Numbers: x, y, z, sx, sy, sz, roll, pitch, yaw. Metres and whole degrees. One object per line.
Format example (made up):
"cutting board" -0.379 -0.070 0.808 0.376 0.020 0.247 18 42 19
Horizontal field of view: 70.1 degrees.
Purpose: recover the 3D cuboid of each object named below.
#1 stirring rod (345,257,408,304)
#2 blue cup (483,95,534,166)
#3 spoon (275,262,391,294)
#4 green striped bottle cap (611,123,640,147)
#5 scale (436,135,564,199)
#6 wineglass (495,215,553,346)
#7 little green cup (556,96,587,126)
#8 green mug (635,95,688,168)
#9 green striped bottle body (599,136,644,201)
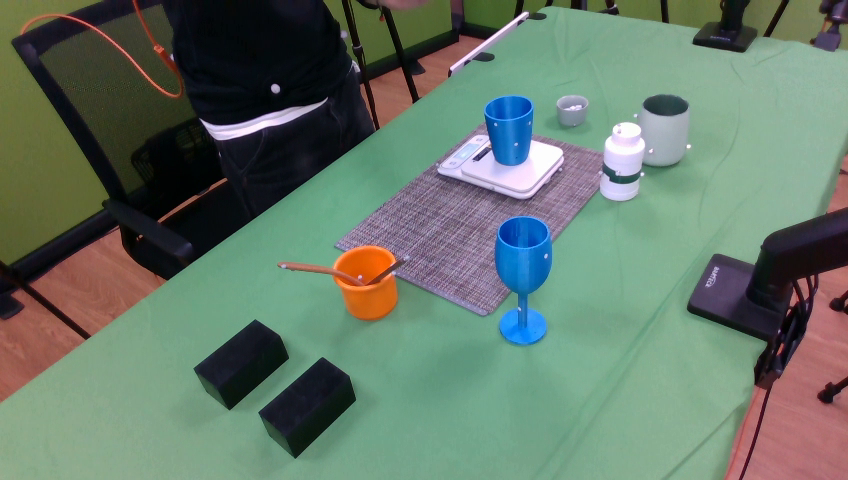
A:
"stirring rod" -0.067 0.057 0.815 0.014 0.175 0.006 -24 82 -38
"blue cup" 0.150 -0.187 1.051 0.092 0.101 0.092 -6 41 6
"spoon" -0.120 0.050 0.830 0.041 0.195 0.021 32 97 45
"green striped bottle cap" 0.322 -0.168 0.963 0.044 0.020 0.044 -3 42 3
"scale" 0.137 -0.142 1.101 0.199 0.032 0.149 22 48 30
"wineglass" 0.127 0.055 0.770 0.074 0.173 0.073 -4 40 4
"little green cup" 0.295 -0.258 1.214 0.061 0.039 0.061 -4 42 4
"green mug" 0.421 -0.201 1.081 0.092 0.105 0.125 5 42 15
"green striped bottle body" 0.326 -0.128 0.997 0.063 0.120 0.063 -4 41 4
